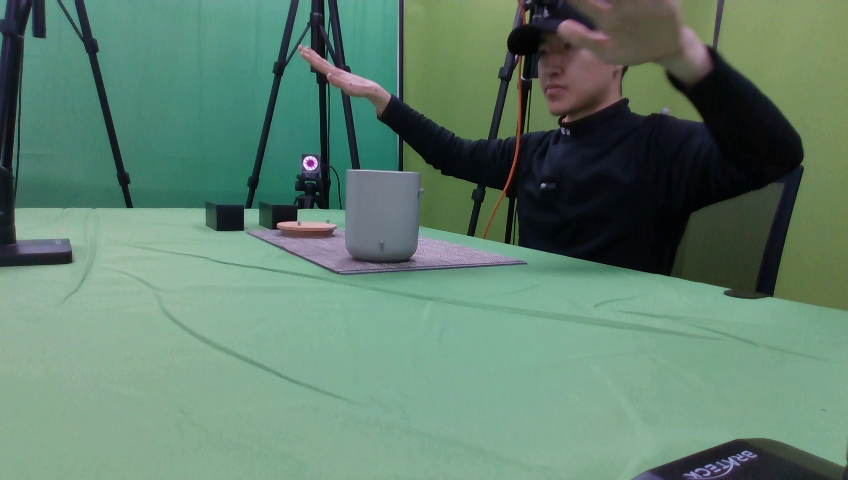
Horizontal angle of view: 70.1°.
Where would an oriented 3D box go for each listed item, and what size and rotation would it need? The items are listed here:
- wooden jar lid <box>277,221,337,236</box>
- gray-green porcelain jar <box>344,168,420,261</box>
[{"bbox_3d":[-0.215,-0.021,1.112,0.108,0.020,0.108,3,7,0],"label":"wooden jar lid"},{"bbox_3d":[-0.059,-0.037,0.858,0.106,0.126,0.106,2,7,0],"label":"gray-green porcelain jar"}]
